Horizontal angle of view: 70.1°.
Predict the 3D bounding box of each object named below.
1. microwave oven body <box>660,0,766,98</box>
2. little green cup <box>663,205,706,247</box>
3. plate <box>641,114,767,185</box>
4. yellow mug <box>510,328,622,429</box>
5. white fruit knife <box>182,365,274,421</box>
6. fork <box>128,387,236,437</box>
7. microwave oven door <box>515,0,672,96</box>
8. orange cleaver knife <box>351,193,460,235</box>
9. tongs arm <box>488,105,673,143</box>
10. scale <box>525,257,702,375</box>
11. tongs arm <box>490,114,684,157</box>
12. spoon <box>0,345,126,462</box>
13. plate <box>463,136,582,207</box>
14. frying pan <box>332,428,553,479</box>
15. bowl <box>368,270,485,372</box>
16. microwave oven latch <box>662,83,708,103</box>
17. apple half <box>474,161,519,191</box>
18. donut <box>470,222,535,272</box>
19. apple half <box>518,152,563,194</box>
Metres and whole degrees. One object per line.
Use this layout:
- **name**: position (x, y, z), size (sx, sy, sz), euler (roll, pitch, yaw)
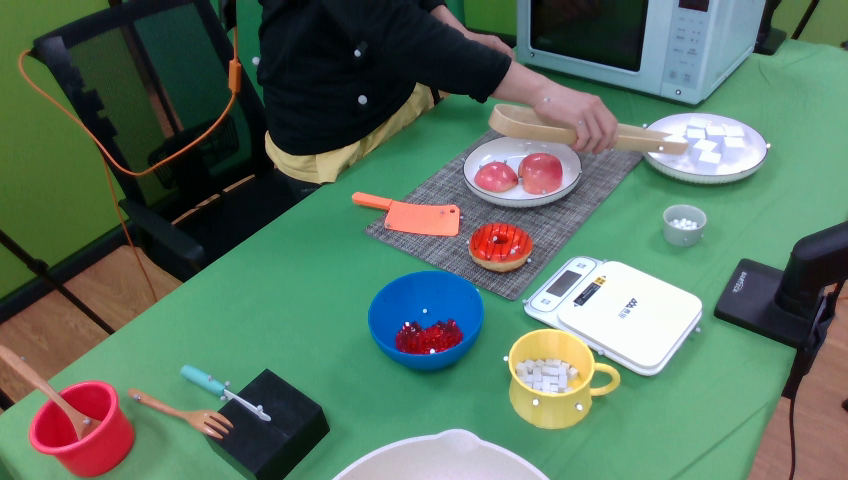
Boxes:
- **microwave oven body**: position (0.472, -0.513, 1.317), size (0.438, 0.261, 0.327), euler (26, 51, 34)
- **little green cup**: position (0.396, -0.020, 0.926), size (0.061, 0.039, 0.061), euler (-4, 40, 4)
- **plate**: position (0.489, -0.157, 1.074), size (0.207, 0.039, 0.206), euler (-4, 40, 4)
- **yellow mug**: position (0.169, 0.164, 0.721), size (0.130, 0.064, 0.099), euler (0, 40, 8)
- **white fruit knife**: position (-0.245, 0.187, 0.747), size (0.205, 0.027, 0.016), euler (9, 41, 41)
- **fork**: position (-0.305, 0.207, 0.744), size (0.206, 0.019, 0.028), euler (3, 41, 36)
- **microwave oven door**: position (0.343, -0.455, 1.259), size (0.353, 0.245, 0.039), euler (26, 51, 33)
- **orange cleaver knife**: position (-0.036, -0.044, 1.028), size (0.210, 0.012, 0.077), euler (10, 49, 18)
- **tongs arm**: position (0.267, -0.175, 0.973), size (0.388, 0.026, 0.050), euler (5, 40, -25)
- **scale**: position (0.254, 0.091, 0.821), size (0.199, 0.032, 0.149), euler (28, 51, 35)
- **tongs arm**: position (0.275, -0.160, 0.958), size (0.390, 0.028, 0.028), euler (1, 45, -29)
- **spoon**: position (-0.434, 0.192, 0.720), size (0.194, 0.021, 0.042), euler (47, 53, -6)
- **plate**: position (0.173, -0.119, 1.070), size (0.209, 0.038, 0.208), euler (-4, 40, 4)
- **frying pan**: position (-0.089, 0.306, 0.564), size (0.487, 0.103, 0.306), euler (10, 41, 7)
- **bowl**: position (0.007, 0.118, 0.791), size (0.151, 0.077, 0.150), euler (-4, 40, 4)
- **microwave oven latch**: position (0.518, -0.296, 1.204), size (0.078, 0.029, 0.030), euler (28, 52, 35)
- **apple half**: position (0.130, -0.119, 1.067), size (0.081, 0.033, 0.081), euler (-4, 36, 3)
- **donut**: position (0.119, 0.009, 0.923), size (0.099, 0.048, 0.098), euler (-4, 38, 4)
- **apple half**: position (0.203, -0.123, 1.047), size (0.075, 0.053, 0.080), euler (-2, 40, 2)
